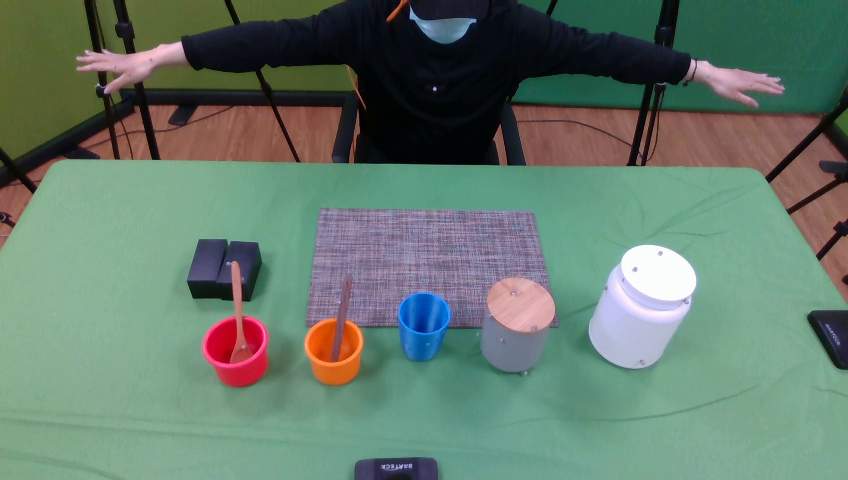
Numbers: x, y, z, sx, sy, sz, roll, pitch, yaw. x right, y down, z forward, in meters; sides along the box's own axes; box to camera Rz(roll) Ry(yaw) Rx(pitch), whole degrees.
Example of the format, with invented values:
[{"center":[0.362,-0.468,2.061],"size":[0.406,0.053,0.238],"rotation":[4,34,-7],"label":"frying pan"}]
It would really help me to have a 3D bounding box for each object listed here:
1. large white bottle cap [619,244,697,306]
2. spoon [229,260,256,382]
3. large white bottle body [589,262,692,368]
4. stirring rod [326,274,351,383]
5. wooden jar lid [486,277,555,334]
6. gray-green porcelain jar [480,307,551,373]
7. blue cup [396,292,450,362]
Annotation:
[{"center":[0.363,0.052,0.939],"size":[0.115,0.018,0.114],"rotation":[2,46,-2],"label":"large white bottle cap"},{"center":[-0.294,0.129,0.966],"size":[0.042,0.021,0.193],"rotation":[-4,91,-9],"label":"spoon"},{"center":[0.358,0.110,1.000],"size":[0.131,0.185,0.130],"rotation":[2,46,-2],"label":"large white bottle body"},{"center":[-0.137,0.142,0.971],"size":[0.014,0.006,0.176],"rotation":[9,89,0],"label":"stirring rod"},{"center":[0.150,0.105,0.948],"size":[0.108,0.021,0.107],"rotation":[3,47,-3],"label":"wooden jar lid"},{"center":[0.148,0.148,0.992],"size":[0.106,0.127,0.105],"rotation":[2,46,-2],"label":"gray-green porcelain jar"},{"center":[-0.005,0.149,0.997],"size":[0.093,0.101,0.092],"rotation":[3,47,-3],"label":"blue cup"}]
